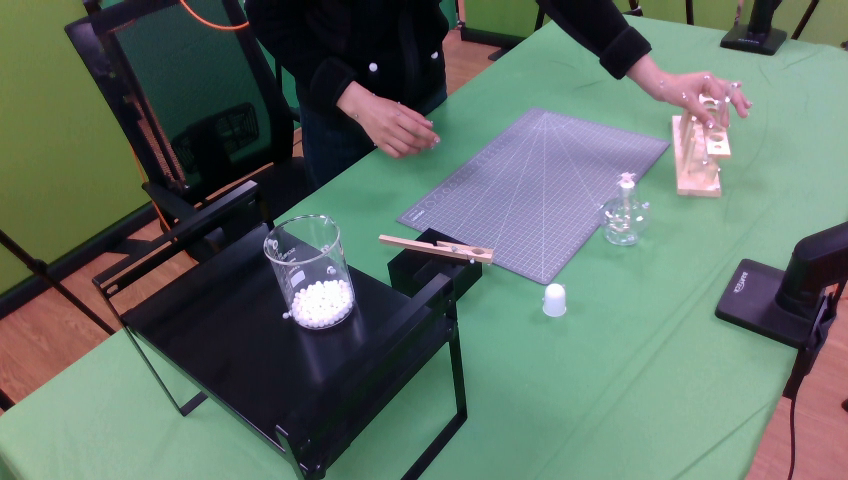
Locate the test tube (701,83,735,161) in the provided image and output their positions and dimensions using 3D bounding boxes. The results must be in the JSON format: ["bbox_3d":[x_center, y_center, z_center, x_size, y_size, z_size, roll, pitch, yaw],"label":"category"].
[{"bbox_3d":[0.481,-0.190,0.993,0.017,0.151,0.017,-3,47,3],"label":"test tube"}]

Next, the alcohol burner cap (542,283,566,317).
[{"bbox_3d":[0.181,0.081,0.840,0.034,0.048,0.033,-4,40,4],"label":"alcohol burner cap"}]

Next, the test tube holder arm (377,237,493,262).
[{"bbox_3d":[0.014,0.013,0.888,0.177,0.015,0.013,7,46,17],"label":"test tube holder arm"}]

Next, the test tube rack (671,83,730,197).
[{"bbox_3d":[0.482,-0.184,1.067,0.066,0.085,0.242,5,42,15],"label":"test tube rack"}]

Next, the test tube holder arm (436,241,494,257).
[{"bbox_3d":[0.058,0.015,0.877,0.087,0.015,0.010,8,46,18],"label":"test tube holder arm"}]

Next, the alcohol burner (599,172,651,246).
[{"bbox_3d":[0.306,-0.051,0.918,0.078,0.119,0.077,-6,41,5],"label":"alcohol burner"}]

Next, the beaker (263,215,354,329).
[{"bbox_3d":[-0.112,0.034,0.616,0.073,0.101,0.084,13,44,23],"label":"beaker"}]
